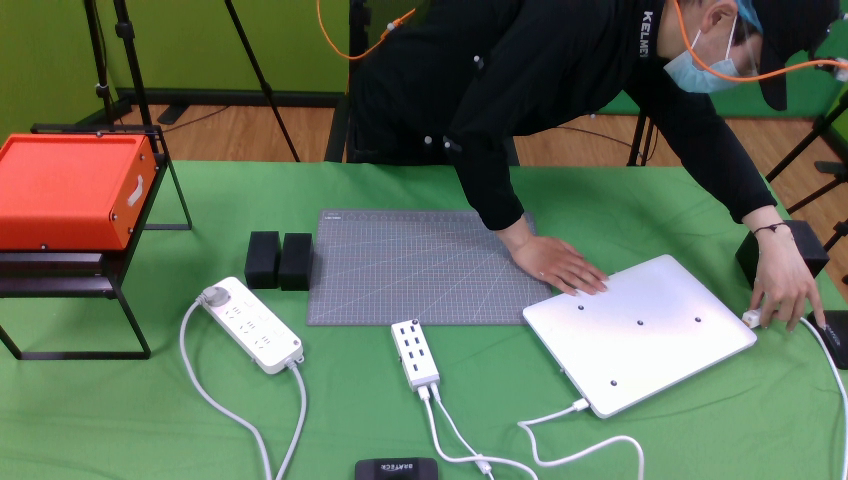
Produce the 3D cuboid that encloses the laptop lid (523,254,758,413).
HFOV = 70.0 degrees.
[{"bbox_3d":[0.381,0.148,1.073,0.357,0.013,0.240,-17,47,-19],"label":"laptop lid"}]

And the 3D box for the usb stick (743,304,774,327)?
[{"bbox_3d":[0.599,0.139,1.096,0.059,0.027,0.021,-20,38,-6],"label":"usb stick"}]

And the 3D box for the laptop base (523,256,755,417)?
[{"bbox_3d":[0.381,0.159,1.082,0.355,0.023,0.234,-17,48,-21],"label":"laptop base"}]

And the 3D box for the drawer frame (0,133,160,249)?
[{"bbox_3d":[-0.552,-0.078,0.942,0.214,0.083,0.200,-1,47,-4],"label":"drawer frame"}]

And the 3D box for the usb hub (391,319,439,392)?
[{"bbox_3d":[-0.015,0.191,1.013,0.049,0.025,0.124,-11,48,-15],"label":"usb hub"}]

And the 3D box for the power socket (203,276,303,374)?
[{"bbox_3d":[-0.296,0.141,1.034,0.225,0.033,0.072,37,55,27],"label":"power socket"}]

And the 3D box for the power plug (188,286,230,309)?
[{"bbox_3d":[-0.369,0.103,1.039,0.072,0.053,0.035,-26,54,-23],"label":"power plug"}]

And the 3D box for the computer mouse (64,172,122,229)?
[{"bbox_3d":[-0.521,-0.067,0.954,0.063,0.041,0.116,1,49,-9],"label":"computer mouse"}]

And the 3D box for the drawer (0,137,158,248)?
[{"bbox_3d":[-0.549,-0.079,0.943,0.212,0.073,0.193,0,47,-4],"label":"drawer"}]
